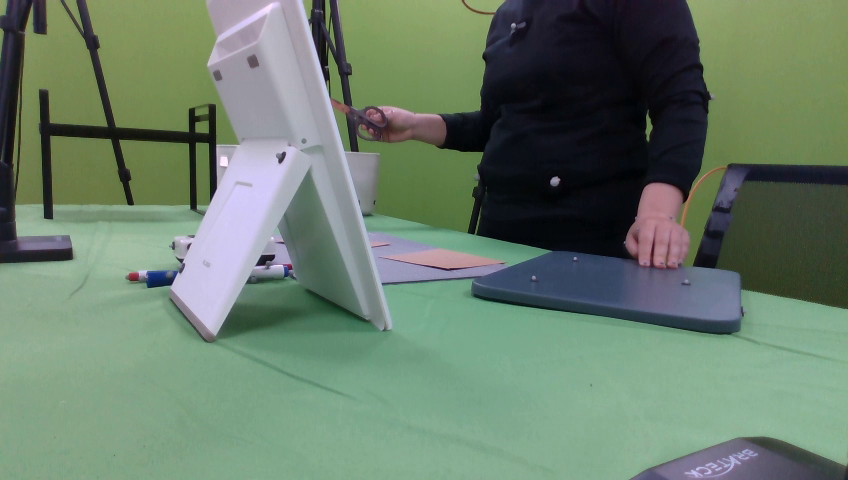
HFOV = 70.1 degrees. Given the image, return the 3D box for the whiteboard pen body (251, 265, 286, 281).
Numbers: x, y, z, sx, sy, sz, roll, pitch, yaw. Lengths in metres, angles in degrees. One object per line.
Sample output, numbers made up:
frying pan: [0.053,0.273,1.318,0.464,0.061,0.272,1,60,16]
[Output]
whiteboard pen body: [-0.220,0.039,0.656,0.141,0.017,0.017,-2,9,-31]

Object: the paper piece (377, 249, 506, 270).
paper piece: [0.025,0.027,0.865,0.134,0.004,0.136,10,10,43]

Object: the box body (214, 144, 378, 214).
box body: [-0.328,-0.154,1.543,0.366,0.160,0.253,-2,9,-32]

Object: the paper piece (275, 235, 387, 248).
paper piece: [-0.151,0.003,0.978,0.135,0.008,0.139,14,10,34]

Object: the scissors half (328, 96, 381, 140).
scissors half: [-0.169,-0.269,1.294,0.175,0.040,0.013,36,1,-3]

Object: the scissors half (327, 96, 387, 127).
scissors half: [-0.160,-0.287,1.293,0.175,0.040,0.013,20,7,-2]

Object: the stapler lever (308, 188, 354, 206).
stapler lever: [-0.231,-0.106,1.509,0.119,0.040,0.026,2,9,-35]

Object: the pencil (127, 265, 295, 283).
pencil: [-0.231,0.037,0.690,0.195,0.012,0.012,-2,9,-34]

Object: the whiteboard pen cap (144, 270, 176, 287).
whiteboard pen cap: [-0.271,0.039,0.627,0.033,0.018,0.018,-3,10,-33]

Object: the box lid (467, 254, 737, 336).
box lid: [0.234,0.055,0.736,0.262,0.015,0.373,7,7,27]

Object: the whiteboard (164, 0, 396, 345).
whiteboard: [-0.173,-0.053,0.511,0.144,0.305,0.216,-23,19,-26]

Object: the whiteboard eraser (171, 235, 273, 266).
whiteboard eraser: [-0.248,0.014,0.747,0.113,0.042,0.055,-1,10,-32]

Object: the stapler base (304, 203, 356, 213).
stapler base: [-0.235,-0.081,1.511,0.131,0.024,0.041,1,9,-35]
